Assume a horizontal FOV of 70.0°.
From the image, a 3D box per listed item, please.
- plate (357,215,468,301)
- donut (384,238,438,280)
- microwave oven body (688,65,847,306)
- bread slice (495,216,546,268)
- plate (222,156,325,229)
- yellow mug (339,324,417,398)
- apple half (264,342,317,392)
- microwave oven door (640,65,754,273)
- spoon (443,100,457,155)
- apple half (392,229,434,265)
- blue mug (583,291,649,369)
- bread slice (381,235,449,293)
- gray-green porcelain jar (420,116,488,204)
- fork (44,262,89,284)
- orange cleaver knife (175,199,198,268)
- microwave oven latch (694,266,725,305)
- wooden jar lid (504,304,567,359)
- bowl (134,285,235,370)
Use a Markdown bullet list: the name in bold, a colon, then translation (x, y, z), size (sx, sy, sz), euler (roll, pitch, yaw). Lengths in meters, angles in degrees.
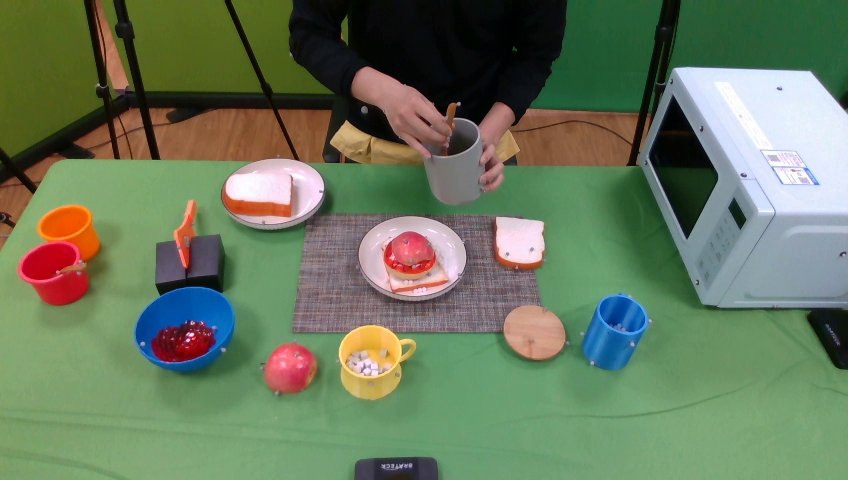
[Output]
- **plate**: translation (-0.022, 0.037, 1.141), size (0.208, 0.039, 0.206), euler (2, 46, -2)
- **donut**: translation (-0.025, 0.030, 1.109), size (0.099, 0.048, 0.098), euler (2, 46, -2)
- **microwave oven body**: translation (0.669, -0.111, 1.176), size (0.326, 0.261, 0.439), euler (0, 46, -3)
- **bread slice**: translation (0.194, 0.002, 1.204), size (0.105, 0.019, 0.131), euler (5, 45, 2)
- **plate**: translation (-0.308, -0.095, 1.251), size (0.209, 0.038, 0.208), euler (2, 47, -2)
- **yellow mug**: translation (-0.072, 0.190, 0.978), size (0.131, 0.064, 0.099), euler (-17, 51, -20)
- **apple half**: translation (-0.214, 0.198, 0.970), size (0.074, 0.053, 0.080), euler (19, 48, 11)
- **microwave oven door**: translation (0.523, -0.147, 1.193), size (0.039, 0.245, 0.353), euler (0, 47, -3)
- **spoon**: translation (0.039, -0.160, 1.014), size (0.041, 0.194, 0.021), euler (6, 50, 1)
- **apple half**: translation (-0.020, 0.005, 1.083), size (0.081, 0.033, 0.081), euler (7, 48, -7)
- **blue mug**: translation (0.324, 0.142, 1.023), size (0.082, 0.106, 0.116), euler (15, 47, 11)
- **bread slice**: translation (-0.026, 0.042, 1.144), size (0.107, 0.018, 0.133), euler (-13, 53, -15)
- **gray-green porcelain jar**: translation (0.056, -0.135, 1.063), size (0.106, 0.127, 0.105), euler (-7, 49, 8)
- **fork**: translation (-0.598, 0.054, 1.014), size (0.207, 0.019, 0.028), euler (-15, 29, 45)
- **orange cleaver knife**: translation (-0.438, -0.017, 1.138), size (0.012, 0.077, 0.210), euler (-14, 27, -7)
- **microwave oven latch**: translation (0.523, 0.082, 1.115), size (0.030, 0.029, 0.078), euler (3, 46, 0)
- **wooden jar lid**: translation (0.192, 0.161, 1.052), size (0.108, 0.021, 0.107), euler (3, 50, -3)
- **bowl**: translation (-0.377, 0.155, 0.981), size (0.151, 0.077, 0.150), euler (2, 46, -2)
